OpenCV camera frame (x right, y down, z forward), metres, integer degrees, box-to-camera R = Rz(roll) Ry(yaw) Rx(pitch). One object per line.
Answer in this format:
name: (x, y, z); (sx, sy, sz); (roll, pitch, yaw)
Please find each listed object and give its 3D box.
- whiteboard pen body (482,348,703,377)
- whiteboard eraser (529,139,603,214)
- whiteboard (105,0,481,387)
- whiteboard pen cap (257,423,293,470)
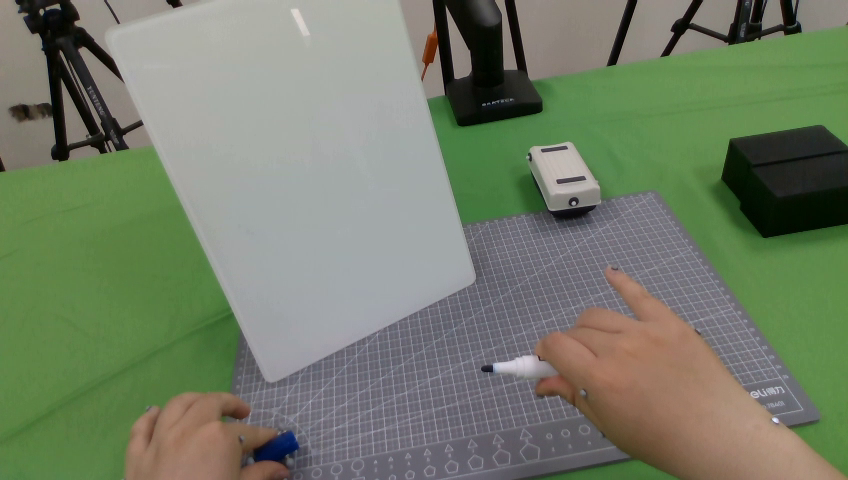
whiteboard pen body: (0.108, 0.079, 0.391); (0.141, 0.017, 0.017); (-2, 40, 2)
whiteboard eraser: (0.154, -0.071, 0.670); (0.055, 0.042, 0.111); (-11, 36, 2)
whiteboard: (-0.107, -0.068, 0.555); (0.217, 0.307, 0.142); (-24, 23, -17)
whiteboard pen cap: (-0.113, 0.157, 0.457); (0.018, 0.018, 0.033); (7, 60, 19)
